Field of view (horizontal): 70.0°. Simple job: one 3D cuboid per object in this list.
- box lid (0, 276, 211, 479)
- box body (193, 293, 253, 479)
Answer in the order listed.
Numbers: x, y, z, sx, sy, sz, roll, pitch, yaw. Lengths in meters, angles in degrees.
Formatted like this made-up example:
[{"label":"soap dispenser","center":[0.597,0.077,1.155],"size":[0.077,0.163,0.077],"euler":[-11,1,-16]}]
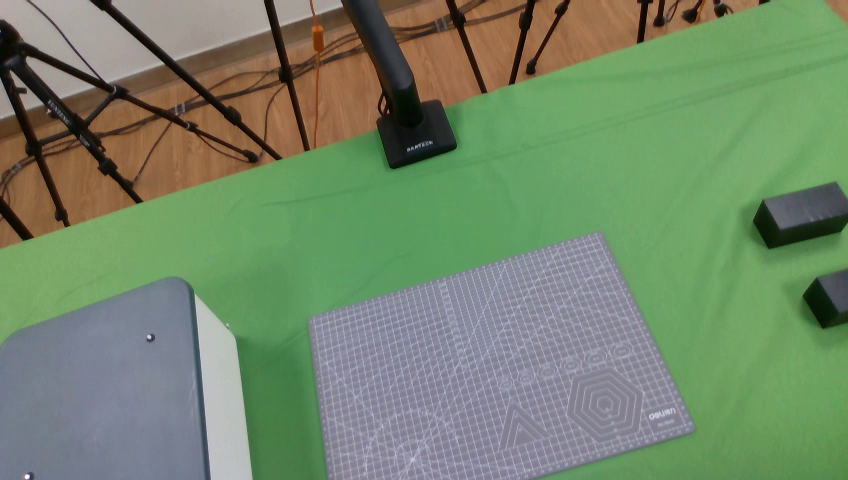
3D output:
[{"label":"box lid","center":[-0.373,0.225,0.681],"size":[0.263,0.015,0.367],"euler":[-19,58,0]},{"label":"box body","center":[-0.359,0.266,0.743],"size":[0.254,0.162,0.360],"euler":[-19,58,-1]}]
